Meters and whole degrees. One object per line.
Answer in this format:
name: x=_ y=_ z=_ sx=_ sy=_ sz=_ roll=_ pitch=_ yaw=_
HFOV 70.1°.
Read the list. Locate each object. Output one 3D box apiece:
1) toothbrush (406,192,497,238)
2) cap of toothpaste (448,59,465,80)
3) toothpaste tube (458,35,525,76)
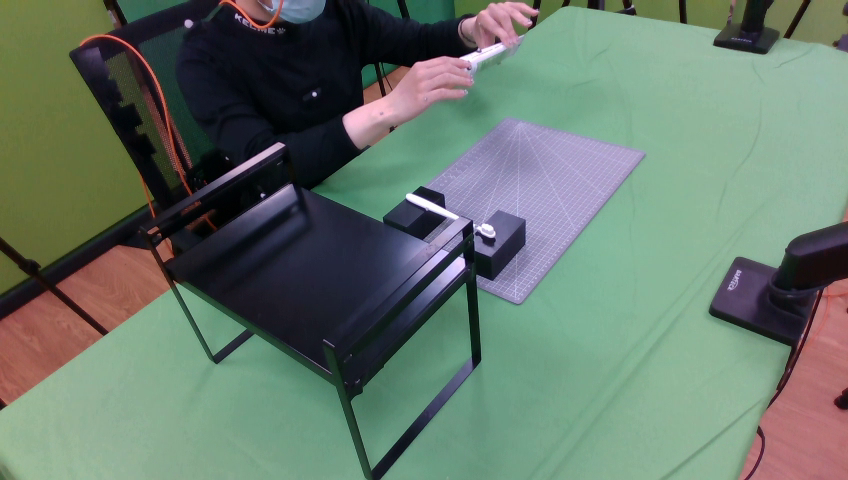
toothbrush: x=0.038 y=-0.043 z=0.937 sx=0.180 sy=0.017 sz=0.014 roll=26 pitch=63 yaw=35
cap of toothpaste: x=0.056 y=-0.295 z=1.046 sx=0.011 sy=0.037 sz=0.037 roll=-31 pitch=46 yaw=-32
toothpaste tube: x=0.116 y=-0.330 z=1.085 sx=0.166 sy=0.055 sz=0.034 roll=-30 pitch=84 yaw=-32
